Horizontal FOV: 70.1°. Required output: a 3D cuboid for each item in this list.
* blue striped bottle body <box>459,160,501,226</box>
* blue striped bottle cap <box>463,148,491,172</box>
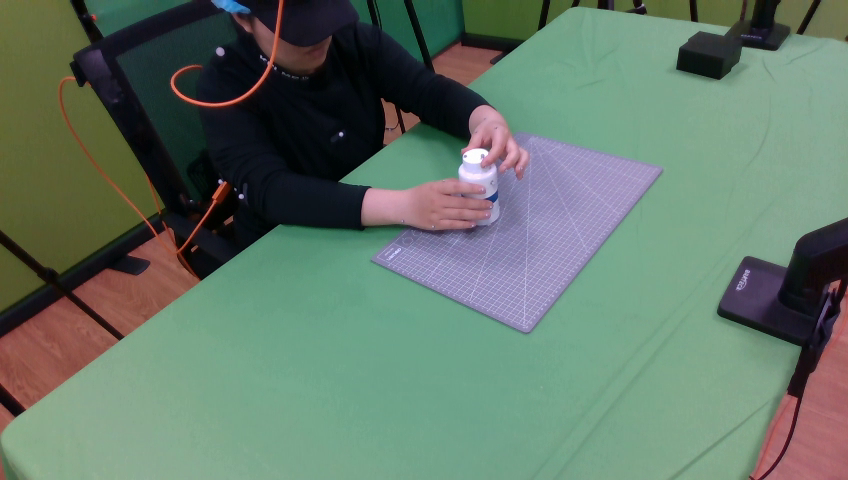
[{"bbox_3d":[0.091,-0.088,0.989,0.063,0.121,0.063,-6,40,5],"label":"blue striped bottle body"},{"bbox_3d":[0.084,-0.127,0.957,0.044,0.021,0.044,-5,43,5],"label":"blue striped bottle cap"}]
